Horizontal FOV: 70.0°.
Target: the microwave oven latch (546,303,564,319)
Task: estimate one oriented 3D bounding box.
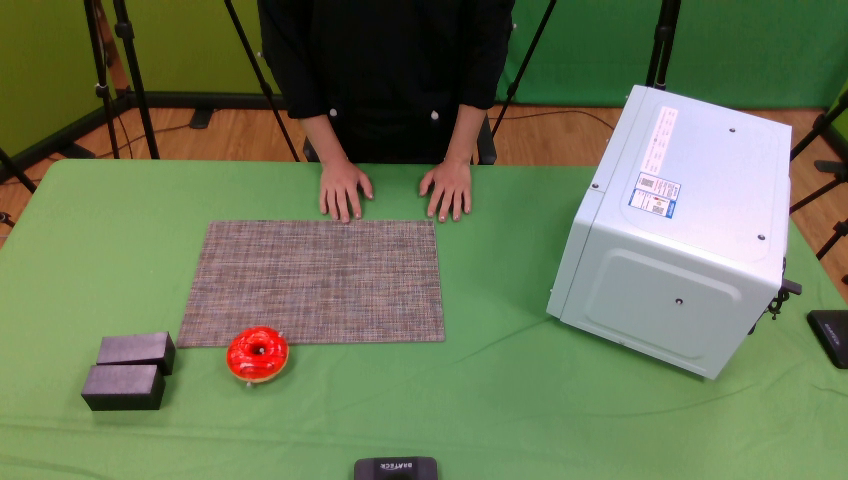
[{"bbox_3d":[0.242,0.102,1.081,0.030,0.029,0.079,21,48,17],"label":"microwave oven latch"}]

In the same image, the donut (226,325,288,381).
[{"bbox_3d":[-0.270,0.182,0.984,0.099,0.048,0.098,5,49,-5],"label":"donut"}]

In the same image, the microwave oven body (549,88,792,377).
[{"bbox_3d":[0.456,-0.028,1.088,0.325,0.261,0.440,20,47,16],"label":"microwave oven body"}]

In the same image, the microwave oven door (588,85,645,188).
[{"bbox_3d":[0.342,-0.107,1.149,0.039,0.245,0.354,20,48,15],"label":"microwave oven door"}]
